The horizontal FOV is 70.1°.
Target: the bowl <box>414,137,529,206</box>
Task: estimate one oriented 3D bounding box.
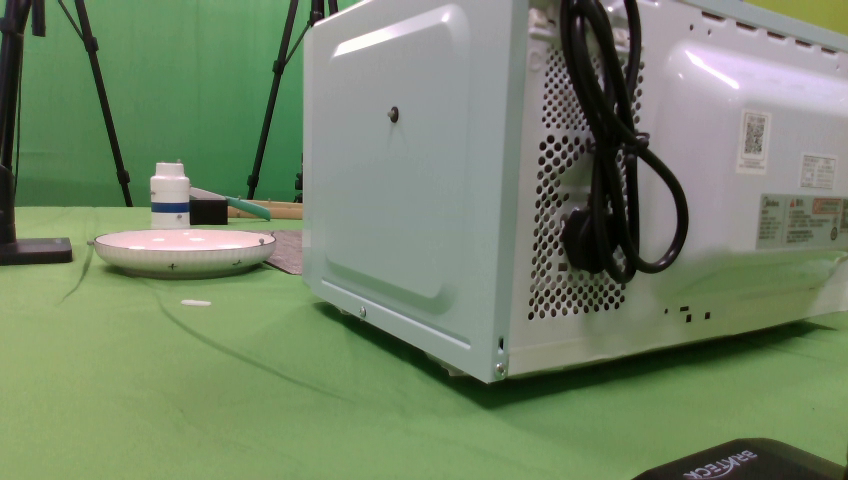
[{"bbox_3d":[0.063,-0.090,0.801,0.151,0.077,0.151,-2,15,1],"label":"bowl"}]

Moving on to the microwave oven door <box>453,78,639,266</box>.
[{"bbox_3d":[0.164,-0.107,0.918,0.039,0.243,0.354,-2,8,-32],"label":"microwave oven door"}]

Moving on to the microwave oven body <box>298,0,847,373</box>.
[{"bbox_3d":[0.151,-0.055,0.543,0.444,0.260,0.324,-1,7,-33],"label":"microwave oven body"}]

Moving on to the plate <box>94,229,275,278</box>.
[{"bbox_3d":[-0.291,0.016,0.749,0.208,0.039,0.207,2,7,0],"label":"plate"}]

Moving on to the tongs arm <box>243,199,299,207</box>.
[{"bbox_3d":[-0.309,-0.078,1.487,0.385,0.026,0.050,3,7,-2],"label":"tongs arm"}]

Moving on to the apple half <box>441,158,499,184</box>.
[{"bbox_3d":[0.059,-0.092,0.800,0.081,0.033,0.081,3,9,0],"label":"apple half"}]

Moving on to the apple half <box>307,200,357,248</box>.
[{"bbox_3d":[-0.135,-0.024,0.941,0.053,0.074,0.081,13,9,39],"label":"apple half"}]

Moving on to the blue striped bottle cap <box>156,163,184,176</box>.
[{"bbox_3d":[-0.438,-0.122,1.045,0.044,0.020,0.044,5,6,0],"label":"blue striped bottle cap"}]

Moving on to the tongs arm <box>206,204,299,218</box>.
[{"bbox_3d":[-0.302,-0.065,1.407,0.389,0.028,0.028,1,4,-15],"label":"tongs arm"}]

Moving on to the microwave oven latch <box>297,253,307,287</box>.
[{"bbox_3d":[-0.081,0.027,0.578,0.079,0.029,0.030,0,7,-25],"label":"microwave oven latch"}]

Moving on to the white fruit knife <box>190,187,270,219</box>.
[{"bbox_3d":[-0.413,-0.081,1.270,0.208,0.027,0.016,17,13,-41],"label":"white fruit knife"}]

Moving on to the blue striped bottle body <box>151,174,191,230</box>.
[{"bbox_3d":[-0.439,-0.071,1.052,0.063,0.120,0.063,2,7,0],"label":"blue striped bottle body"}]
